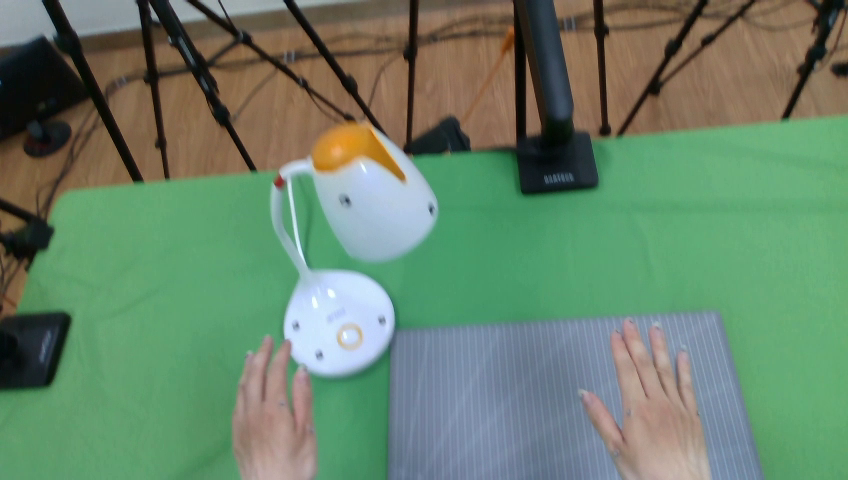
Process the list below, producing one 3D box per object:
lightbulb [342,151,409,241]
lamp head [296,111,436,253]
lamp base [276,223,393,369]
[{"bbox_3d":[-0.053,-0.045,0.605,0.059,0.109,0.059,-12,45,13],"label":"lightbulb"},{"bbox_3d":[-0.064,-0.065,0.593,0.112,0.124,0.111,-18,46,20],"label":"lamp head"},{"bbox_3d":[-0.142,0.063,0.809,0.160,0.182,0.177,-40,60,-15],"label":"lamp base"}]
